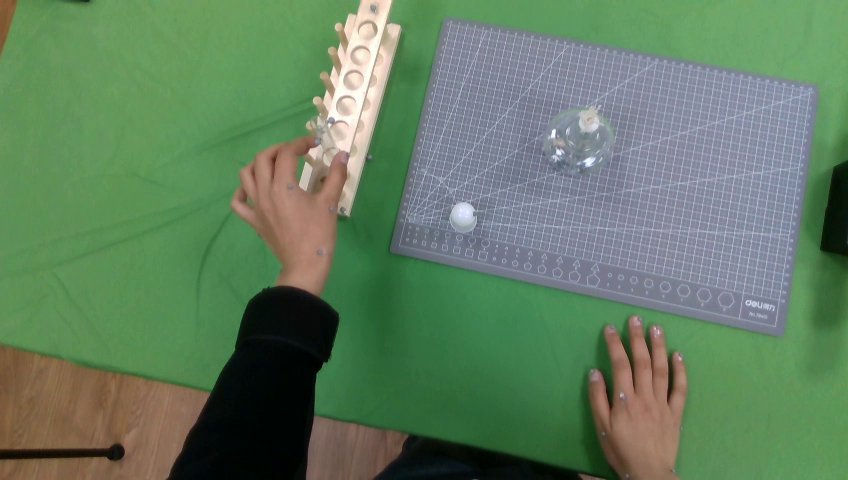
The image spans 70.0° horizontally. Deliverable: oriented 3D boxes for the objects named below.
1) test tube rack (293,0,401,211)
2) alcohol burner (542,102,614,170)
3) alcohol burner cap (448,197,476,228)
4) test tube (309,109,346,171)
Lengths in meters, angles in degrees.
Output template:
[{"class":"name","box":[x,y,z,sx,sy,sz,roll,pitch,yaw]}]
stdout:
[{"class":"test tube rack","box":[-0.093,-0.163,0.690,0.066,0.085,0.241,15,83,5]},{"class":"alcohol burner","box":[0.169,-0.117,0.655,0.078,0.119,0.077,0,83,4]},{"class":"alcohol burner cap","box":[0.043,-0.034,0.686,0.034,0.048,0.034,0,82,3]},{"class":"test tube","box":[-0.099,-0.100,0.633,0.017,0.151,0.017,0,78,1]}]
